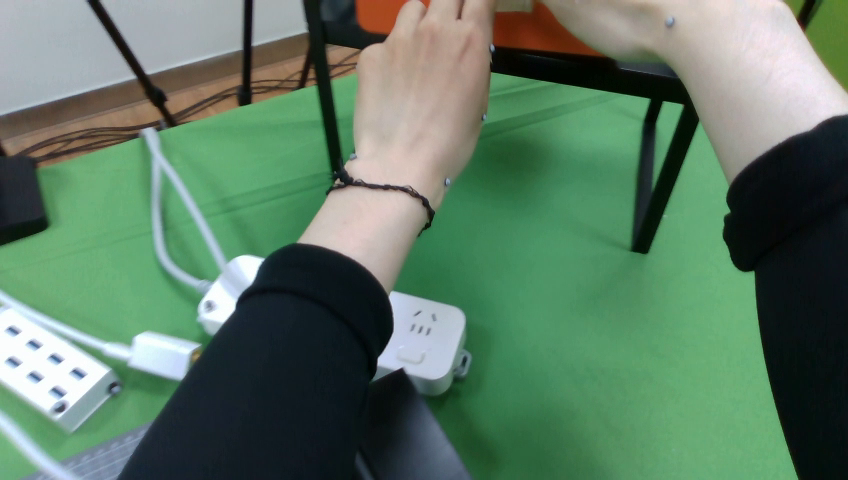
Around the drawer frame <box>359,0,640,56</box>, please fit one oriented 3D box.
[{"bbox_3d":[0.068,-0.246,0.495,0.201,0.083,0.212,7,48,6],"label":"drawer frame"}]

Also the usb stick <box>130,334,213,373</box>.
[{"bbox_3d":[-0.194,0.089,0.471,0.059,0.021,0.027,8,91,-12],"label":"usb stick"}]

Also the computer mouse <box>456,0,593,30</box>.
[{"bbox_3d":[0.077,-0.203,0.474,0.063,0.041,0.116,-40,49,-22],"label":"computer mouse"}]

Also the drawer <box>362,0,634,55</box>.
[{"bbox_3d":[0.068,-0.243,0.494,0.194,0.074,0.210,8,48,7],"label":"drawer"}]

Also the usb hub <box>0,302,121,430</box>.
[{"bbox_3d":[-0.298,0.094,0.466,0.124,0.025,0.049,23,52,20],"label":"usb hub"}]

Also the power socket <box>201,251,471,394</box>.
[{"bbox_3d":[-0.072,0.064,0.491,0.226,0.033,0.072,13,49,12],"label":"power socket"}]
